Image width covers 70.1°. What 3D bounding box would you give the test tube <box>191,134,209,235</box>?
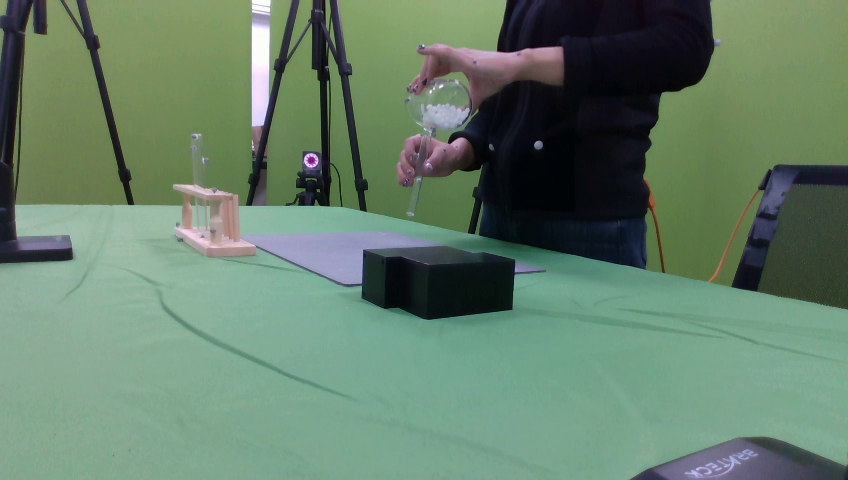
[{"bbox_3d":[-0.332,-0.082,0.898,0.017,0.150,0.017,-2,6,0],"label":"test tube"}]

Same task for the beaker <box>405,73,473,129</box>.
[{"bbox_3d":[0.022,-0.200,0.885,0.074,0.084,0.100,-7,17,-19],"label":"beaker"}]

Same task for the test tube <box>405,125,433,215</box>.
[{"bbox_3d":[-0.008,-0.109,0.965,0.017,0.150,0.017,12,22,-4],"label":"test tube"}]

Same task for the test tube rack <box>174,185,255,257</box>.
[{"bbox_3d":[-0.324,-0.035,0.922,0.067,0.085,0.241,-2,9,-32],"label":"test tube rack"}]
